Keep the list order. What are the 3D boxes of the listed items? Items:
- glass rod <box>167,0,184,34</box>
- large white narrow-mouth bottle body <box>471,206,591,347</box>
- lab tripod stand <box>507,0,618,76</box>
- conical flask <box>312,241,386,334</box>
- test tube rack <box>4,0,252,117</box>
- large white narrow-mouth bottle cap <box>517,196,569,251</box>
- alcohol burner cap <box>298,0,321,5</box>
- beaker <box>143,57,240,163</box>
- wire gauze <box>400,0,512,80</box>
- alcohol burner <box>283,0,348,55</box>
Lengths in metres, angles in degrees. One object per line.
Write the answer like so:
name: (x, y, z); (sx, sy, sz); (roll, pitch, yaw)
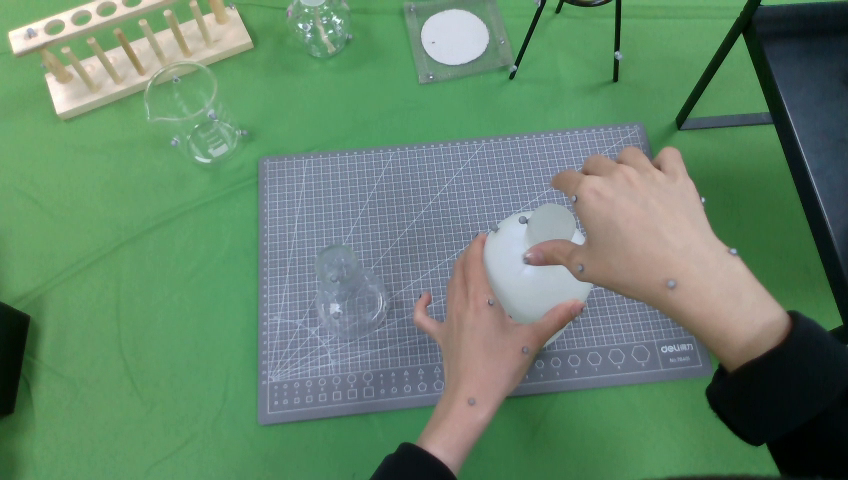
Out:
glass rod: (-0.295, -0.301, 0.667); (0.008, 0.201, 0.008); (2, 65, -3)
large white narrow-mouth bottle body: (0.095, 0.027, 0.543); (0.102, 0.196, 0.101); (-1, 67, 2)
lab tripod stand: (0.170, -0.260, 0.695); (0.148, 0.132, 0.147); (1, 67, -1)
conical flask: (-0.077, 0.040, 0.576); (0.075, 0.123, 0.075); (0, 67, 1)
test tube rack: (-0.339, -0.238, 0.713); (0.242, 0.086, 0.066); (-24, 70, -10)
large white narrow-mouth bottle cap: (0.089, -0.012, 0.455); (0.038, 0.024, 0.037); (-1, 67, 2)
alcohol burner cap: (-0.130, -0.294, 0.681); (0.034, 0.048, 0.033); (3, 65, -7)
beaker: (-0.252, -0.135, 0.663); (0.073, 0.101, 0.084); (39, 73, 16)
wire gauze: (0.039, -0.263, 0.764); (0.121, 0.011, 0.124); (-10, 68, -5)
alcohol burner: (-0.130, -0.278, 0.714); (0.078, 0.120, 0.077); (0, 65, 0)
